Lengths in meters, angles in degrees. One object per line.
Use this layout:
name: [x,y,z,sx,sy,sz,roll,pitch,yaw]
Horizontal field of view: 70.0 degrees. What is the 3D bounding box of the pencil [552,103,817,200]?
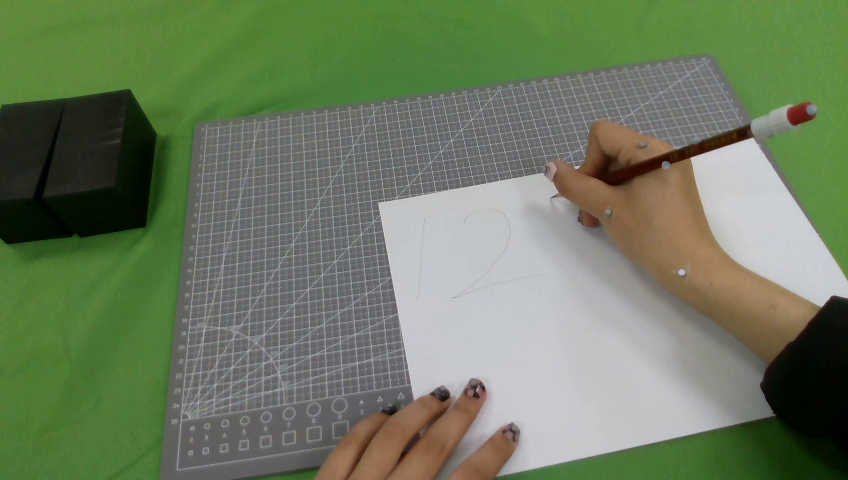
pencil: [0.138,-0.045,0.367,0.012,0.193,0.012,5,79,-26]
